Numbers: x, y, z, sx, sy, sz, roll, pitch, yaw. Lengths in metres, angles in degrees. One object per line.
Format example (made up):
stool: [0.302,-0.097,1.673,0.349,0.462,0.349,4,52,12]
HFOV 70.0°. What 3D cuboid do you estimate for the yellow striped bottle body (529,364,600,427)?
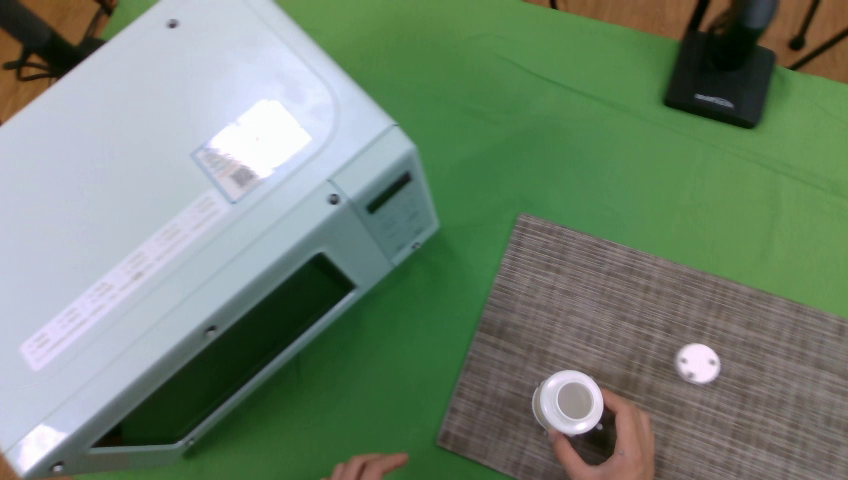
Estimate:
yellow striped bottle body: [0.148,0.166,0.640,0.063,0.121,0.062,-1,73,4]

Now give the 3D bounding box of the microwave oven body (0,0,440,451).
microwave oven body: [-0.254,-0.029,0.671,0.441,0.262,0.324,-41,74,-5]

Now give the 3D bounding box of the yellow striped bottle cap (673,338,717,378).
yellow striped bottle cap: [0.309,0.134,0.690,0.044,0.019,0.044,-2,73,7]

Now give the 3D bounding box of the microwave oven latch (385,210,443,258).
microwave oven latch: [-0.013,-0.014,0.741,0.079,0.030,0.030,-39,74,-5]

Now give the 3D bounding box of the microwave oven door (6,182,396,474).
microwave oven door: [-0.192,0.099,0.622,0.355,0.245,0.039,-41,73,-6]
